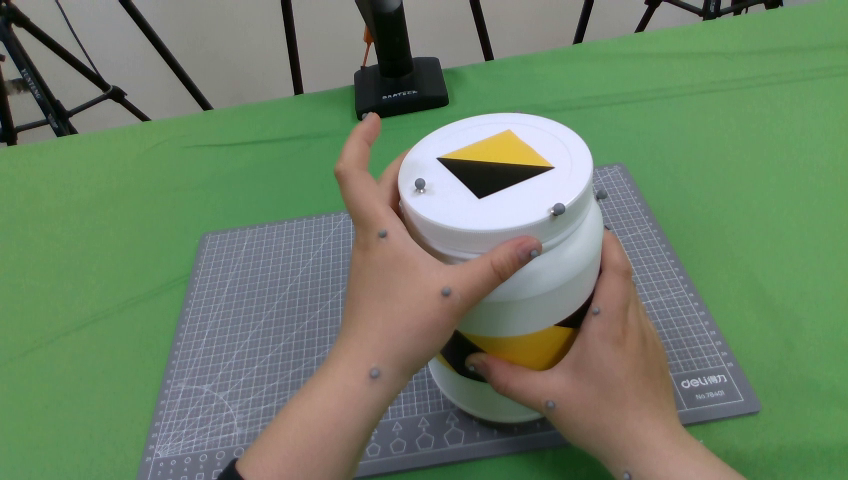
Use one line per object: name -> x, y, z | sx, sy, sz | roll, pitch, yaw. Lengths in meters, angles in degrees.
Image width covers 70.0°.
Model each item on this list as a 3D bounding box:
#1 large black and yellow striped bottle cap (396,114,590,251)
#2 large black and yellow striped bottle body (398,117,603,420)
large black and yellow striped bottle cap -> 0.040, -0.038, 0.359 | 0.115, 0.019, 0.114 | -5, 42, 5
large black and yellow striped bottle body -> 0.054, 0.023, 0.417 | 0.130, 0.186, 0.129 | -6, 43, 6
